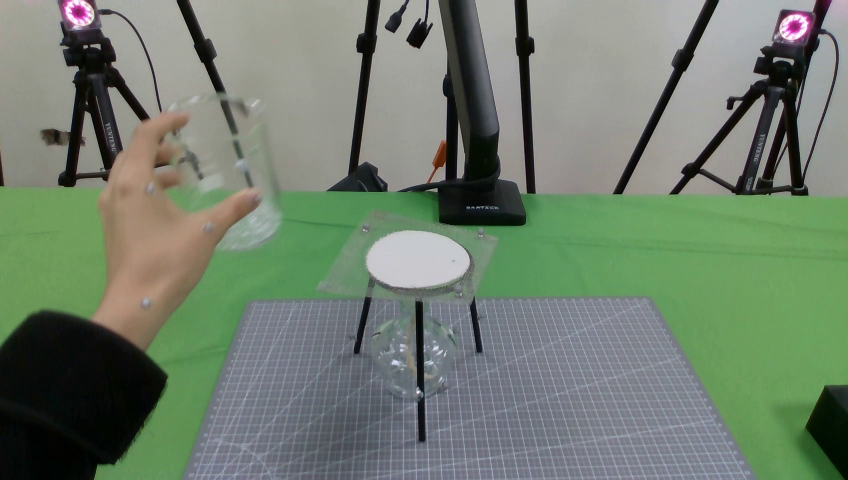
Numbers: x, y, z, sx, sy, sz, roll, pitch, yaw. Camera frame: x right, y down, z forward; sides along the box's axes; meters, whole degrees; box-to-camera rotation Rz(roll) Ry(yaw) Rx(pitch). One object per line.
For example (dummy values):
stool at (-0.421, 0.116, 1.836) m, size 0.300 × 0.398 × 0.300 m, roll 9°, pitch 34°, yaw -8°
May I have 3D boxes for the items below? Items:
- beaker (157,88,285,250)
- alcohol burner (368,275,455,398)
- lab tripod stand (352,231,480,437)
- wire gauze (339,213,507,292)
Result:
beaker at (-0.142, -0.051, 0.448) m, size 0.073 × 0.101 × 0.084 m, roll 25°, pitch 44°, yaw 26°
alcohol burner at (-0.011, 0.080, 0.536) m, size 0.078 × 0.120 × 0.077 m, roll 3°, pitch 31°, yaw -1°
lab tripod stand at (-0.004, 0.072, 0.531) m, size 0.148 × 0.132 × 0.147 m, roll 3°, pitch 32°, yaw -1°
wire gauze at (-0.002, 0.004, 0.482) m, size 0.125 × 0.011 × 0.120 m, roll 5°, pitch 25°, yaw -8°
